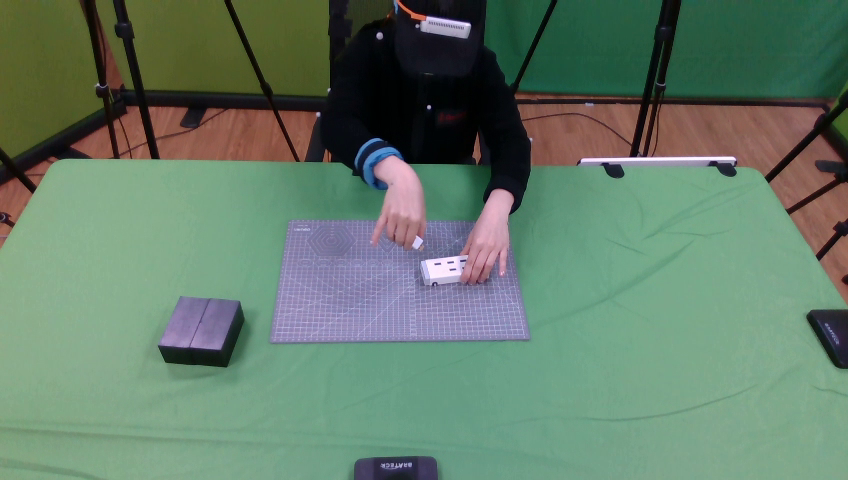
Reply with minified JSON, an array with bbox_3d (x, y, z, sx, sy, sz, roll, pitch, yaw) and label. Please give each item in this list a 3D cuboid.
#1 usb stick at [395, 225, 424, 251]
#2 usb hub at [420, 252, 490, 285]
[{"bbox_3d":[-0.022,-0.001,1.098,0.059,0.027,0.021,41,78,-21],"label":"usb stick"},{"bbox_3d":[0.059,0.055,1.142,0.125,0.025,0.049,-7,48,-10],"label":"usb hub"}]
